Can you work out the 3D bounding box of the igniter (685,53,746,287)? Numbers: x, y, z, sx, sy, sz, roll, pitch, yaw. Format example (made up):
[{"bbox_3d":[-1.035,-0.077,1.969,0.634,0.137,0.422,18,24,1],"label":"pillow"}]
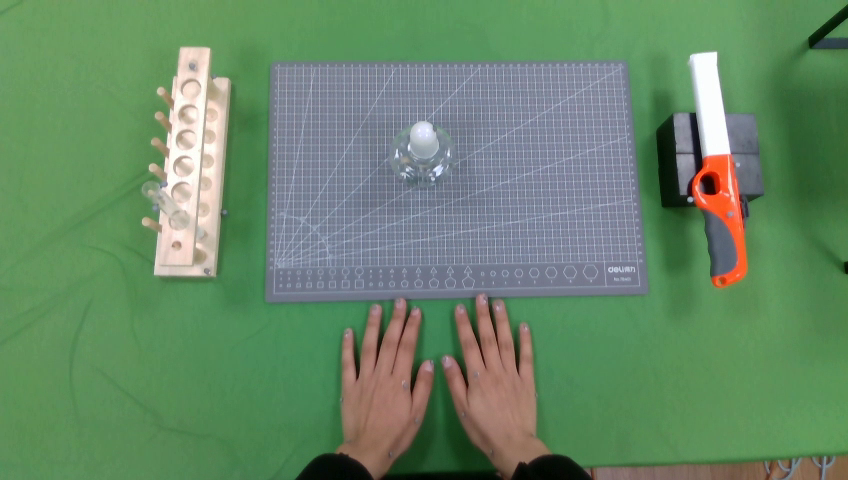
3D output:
[{"bbox_3d":[0.330,-0.084,0.694,0.057,0.025,0.275,-3,78,8],"label":"igniter"}]

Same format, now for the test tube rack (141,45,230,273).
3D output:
[{"bbox_3d":[-0.272,-0.089,0.683,0.067,0.085,0.241,1,79,-2],"label":"test tube rack"}]

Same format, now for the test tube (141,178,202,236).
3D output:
[{"bbox_3d":[-0.255,-0.030,0.623,0.017,0.151,0.017,1,74,-4],"label":"test tube"}]

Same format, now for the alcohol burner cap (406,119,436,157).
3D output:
[{"bbox_3d":[-0.003,-0.112,0.647,0.034,0.048,0.033,0,78,0],"label":"alcohol burner cap"}]

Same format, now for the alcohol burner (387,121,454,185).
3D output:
[{"bbox_3d":[-0.004,-0.104,0.682,0.078,0.119,0.077,0,80,-2],"label":"alcohol burner"}]
